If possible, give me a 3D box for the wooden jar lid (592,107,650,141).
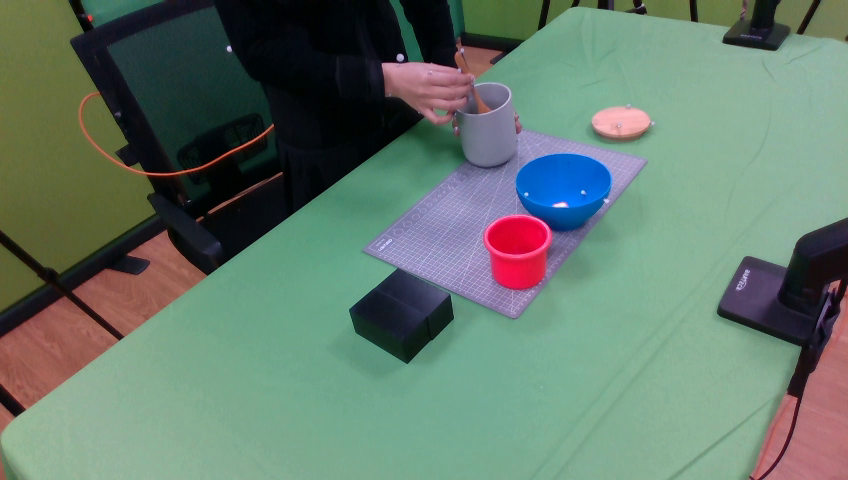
[{"bbox_3d":[0.382,-0.225,1.178,0.108,0.021,0.108,-5,40,4],"label":"wooden jar lid"}]

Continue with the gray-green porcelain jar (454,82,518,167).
[{"bbox_3d":[0.117,-0.208,1.116,0.106,0.127,0.105,-9,44,9],"label":"gray-green porcelain jar"}]

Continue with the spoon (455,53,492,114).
[{"bbox_3d":[0.089,-0.248,1.037,0.041,0.195,0.021,-26,49,10],"label":"spoon"}]

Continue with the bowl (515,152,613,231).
[{"bbox_3d":[0.224,-0.068,0.972,0.151,0.077,0.150,-5,40,5],"label":"bowl"}]
